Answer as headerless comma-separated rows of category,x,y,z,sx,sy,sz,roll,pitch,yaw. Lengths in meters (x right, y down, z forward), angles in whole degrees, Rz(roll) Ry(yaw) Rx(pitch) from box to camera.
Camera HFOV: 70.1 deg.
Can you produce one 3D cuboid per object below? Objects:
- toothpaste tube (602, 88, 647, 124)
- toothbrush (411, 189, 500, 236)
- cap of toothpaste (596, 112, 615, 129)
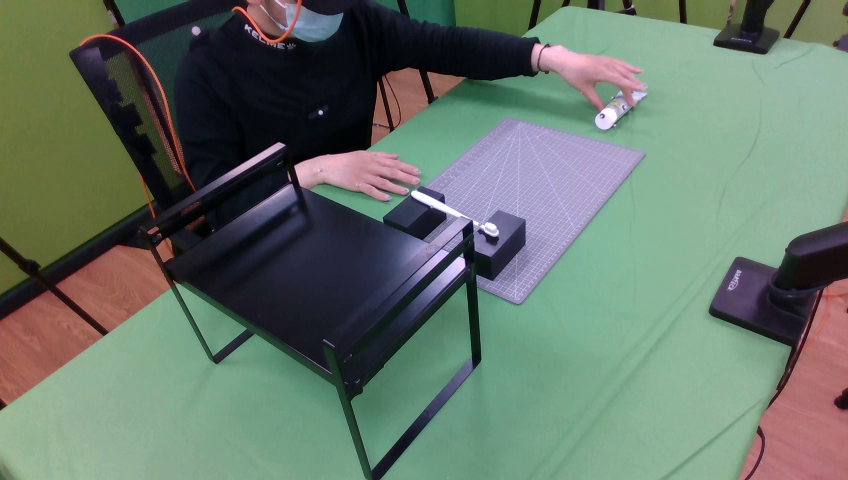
toothpaste tube,0.400,-0.274,1.227,0.054,0.034,0.165,23,45,26
toothbrush,0.044,-0.046,0.940,0.180,0.017,0.014,28,67,36
cap of toothpaste,0.354,-0.233,1.177,0.037,0.037,0.011,20,44,28
